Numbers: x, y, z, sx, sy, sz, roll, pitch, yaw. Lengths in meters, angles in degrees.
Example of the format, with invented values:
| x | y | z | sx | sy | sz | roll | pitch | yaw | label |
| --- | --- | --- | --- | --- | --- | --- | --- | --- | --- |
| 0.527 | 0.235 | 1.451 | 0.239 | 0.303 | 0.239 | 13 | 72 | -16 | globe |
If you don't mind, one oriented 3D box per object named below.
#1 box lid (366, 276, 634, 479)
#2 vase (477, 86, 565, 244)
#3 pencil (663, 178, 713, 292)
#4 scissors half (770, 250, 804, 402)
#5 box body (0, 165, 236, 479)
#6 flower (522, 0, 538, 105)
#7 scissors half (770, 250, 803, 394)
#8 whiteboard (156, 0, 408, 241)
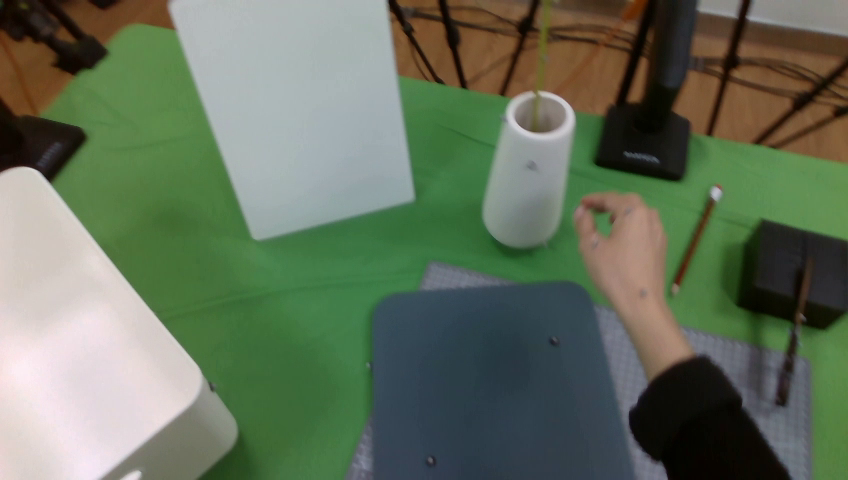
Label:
| x | y | z | sx | sy | sz | roll | pitch | yaw | label |
| --- | --- | --- | --- | --- | --- | --- | --- | --- | --- |
| 0.075 | 0.203 | 0.630 | 0.263 | 0.015 | 0.367 | -4 | 57 | -3 | box lid |
| 0.113 | -0.082 | 0.705 | 0.098 | 0.202 | 0.097 | -1 | 55 | 2 | vase |
| 0.335 | -0.010 | 0.769 | 0.012 | 0.012 | 0.193 | 25 | 62 | 17 | pencil |
| 0.399 | 0.091 | 0.660 | 0.012 | 0.040 | 0.174 | 10 | 75 | 35 | scissors half |
| -0.392 | 0.133 | 0.593 | 0.361 | 0.162 | 0.254 | 39 | 66 | 23 | box body |
| 0.108 | -0.140 | 0.644 | 0.044 | 0.365 | 0.038 | 8 | 40 | 10 | flower |
| 0.390 | 0.082 | 0.645 | 0.012 | 0.040 | 0.174 | 12 | 59 | 30 | scissors half |
| -0.159 | -0.186 | 0.750 | 0.217 | 0.308 | 0.142 | -15 | 39 | -8 | whiteboard |
